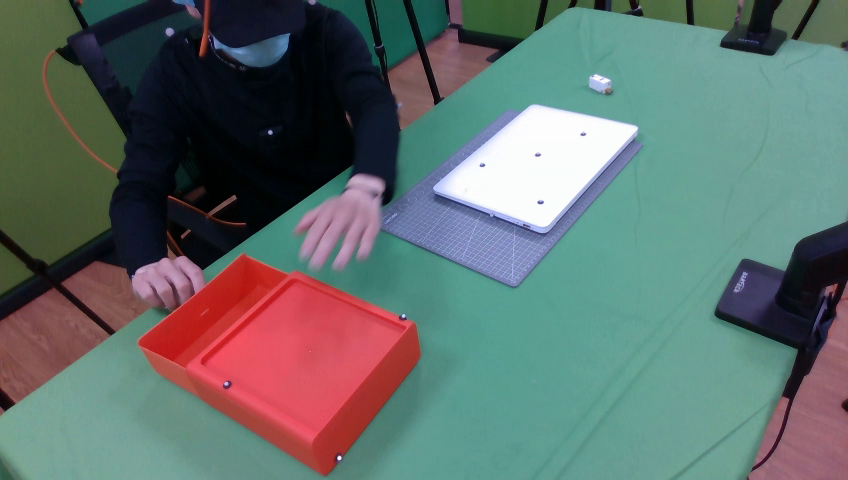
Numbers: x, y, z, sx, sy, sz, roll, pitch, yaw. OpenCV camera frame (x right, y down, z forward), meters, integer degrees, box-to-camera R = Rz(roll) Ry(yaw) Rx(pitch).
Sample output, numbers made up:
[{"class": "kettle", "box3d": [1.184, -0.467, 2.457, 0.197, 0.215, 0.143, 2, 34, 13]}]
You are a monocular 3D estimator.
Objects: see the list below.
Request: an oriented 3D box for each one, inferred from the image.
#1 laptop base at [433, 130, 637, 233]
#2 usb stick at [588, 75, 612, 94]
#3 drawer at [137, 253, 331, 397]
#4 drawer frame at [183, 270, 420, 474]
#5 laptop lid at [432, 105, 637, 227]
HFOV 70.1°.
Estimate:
[{"class": "laptop base", "box3d": [0.210, -0.142, 1.111, 0.233, 0.023, 0.355, 21, 47, 34]}, {"class": "usb stick", "box3d": [0.381, -0.333, 1.304, 0.021, 0.027, 0.058, -25, 46, -22]}, {"class": "drawer", "box3d": [-0.231, 0.127, 0.812, 0.210, 0.073, 0.195, 19, 46, 27]}, {"class": "drawer frame", "box3d": [-0.149, 0.153, 0.767, 0.212, 0.083, 0.202, 20, 46, 27]}, {"class": "laptop lid", "box3d": [0.207, -0.152, 1.105, 0.239, 0.013, 0.358, 23, 49, 34]}]
